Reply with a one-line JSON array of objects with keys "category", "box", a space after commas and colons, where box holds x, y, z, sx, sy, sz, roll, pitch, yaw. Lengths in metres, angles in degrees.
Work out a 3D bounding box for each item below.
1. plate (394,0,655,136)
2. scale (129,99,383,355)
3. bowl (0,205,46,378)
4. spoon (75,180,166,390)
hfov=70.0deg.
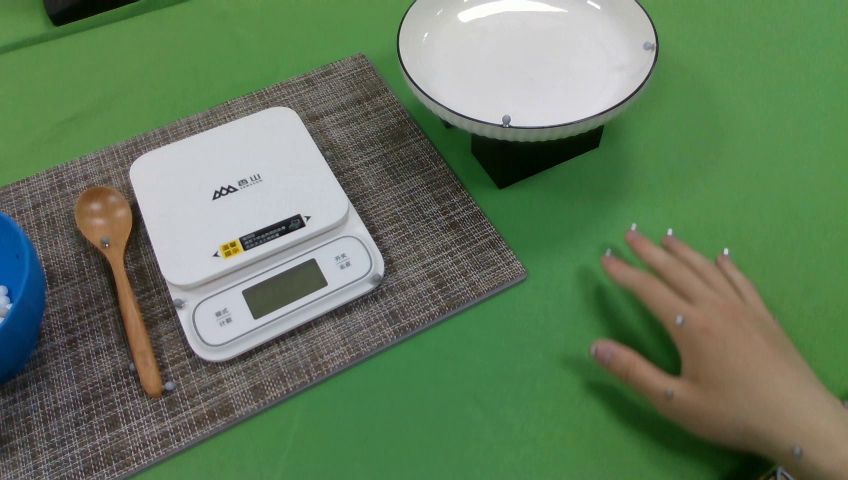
[{"category": "plate", "box": [0.079, -0.159, 0.498, 0.209, 0.038, 0.207, -1, 56, 2]}, {"category": "scale", "box": [-0.136, -0.021, 0.476, 0.149, 0.032, 0.199, -26, 59, -13]}, {"category": "bowl", "box": [-0.322, 0.052, 0.407, 0.151, 0.077, 0.150, -1, 56, 2]}, {"category": "spoon", "box": [-0.226, 0.027, 0.453, 0.042, 0.022, 0.191, -16, 56, -25]}]
